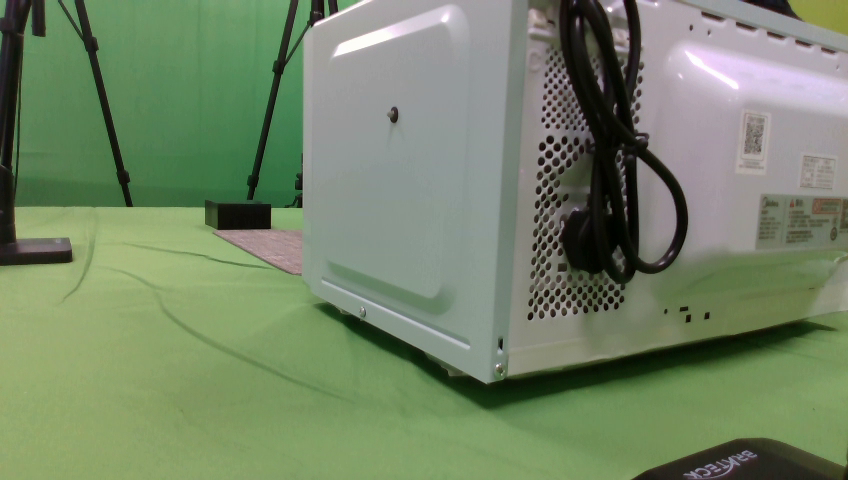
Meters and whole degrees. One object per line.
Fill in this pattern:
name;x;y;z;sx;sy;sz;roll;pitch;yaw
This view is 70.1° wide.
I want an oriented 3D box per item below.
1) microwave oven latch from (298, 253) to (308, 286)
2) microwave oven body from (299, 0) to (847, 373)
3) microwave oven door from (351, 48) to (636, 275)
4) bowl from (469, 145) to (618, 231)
microwave oven latch;-0.081;0.027;0.583;0.079;0.029;0.030;-2;7;-32
microwave oven body;0.152;-0.055;0.542;0.444;0.260;0.324;-2;7;-33
microwave oven door;0.094;-0.084;0.718;0.357;0.243;0.039;-1;8;-21
bowl;0.119;-0.049;0.622;0.151;0.077;0.151;3;2;0
